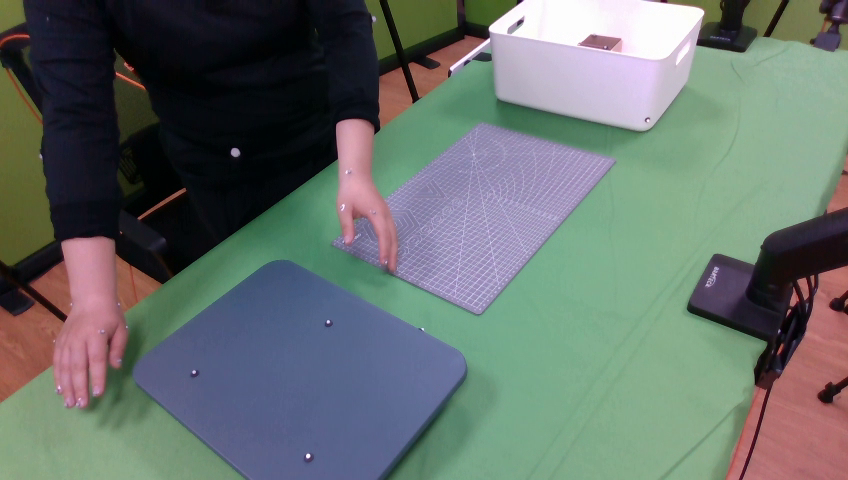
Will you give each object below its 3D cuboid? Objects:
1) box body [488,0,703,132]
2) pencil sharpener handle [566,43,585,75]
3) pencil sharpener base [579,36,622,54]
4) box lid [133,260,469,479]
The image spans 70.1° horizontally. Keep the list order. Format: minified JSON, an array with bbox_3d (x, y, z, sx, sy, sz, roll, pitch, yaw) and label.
[{"bbox_3d":[0.346,-0.374,1.251,0.361,0.161,0.255,21,48,29],"label":"box body"},{"bbox_3d":[0.319,-0.386,1.283,0.030,0.068,0.036,20,41,30],"label":"pencil sharpener handle"},{"bbox_3d":[0.364,-0.363,1.267,0.076,0.107,0.061,20,48,30],"label":"pencil sharpener base"},{"bbox_3d":[-0.156,0.160,0.747,0.368,0.015,0.264,23,49,31],"label":"box lid"}]
